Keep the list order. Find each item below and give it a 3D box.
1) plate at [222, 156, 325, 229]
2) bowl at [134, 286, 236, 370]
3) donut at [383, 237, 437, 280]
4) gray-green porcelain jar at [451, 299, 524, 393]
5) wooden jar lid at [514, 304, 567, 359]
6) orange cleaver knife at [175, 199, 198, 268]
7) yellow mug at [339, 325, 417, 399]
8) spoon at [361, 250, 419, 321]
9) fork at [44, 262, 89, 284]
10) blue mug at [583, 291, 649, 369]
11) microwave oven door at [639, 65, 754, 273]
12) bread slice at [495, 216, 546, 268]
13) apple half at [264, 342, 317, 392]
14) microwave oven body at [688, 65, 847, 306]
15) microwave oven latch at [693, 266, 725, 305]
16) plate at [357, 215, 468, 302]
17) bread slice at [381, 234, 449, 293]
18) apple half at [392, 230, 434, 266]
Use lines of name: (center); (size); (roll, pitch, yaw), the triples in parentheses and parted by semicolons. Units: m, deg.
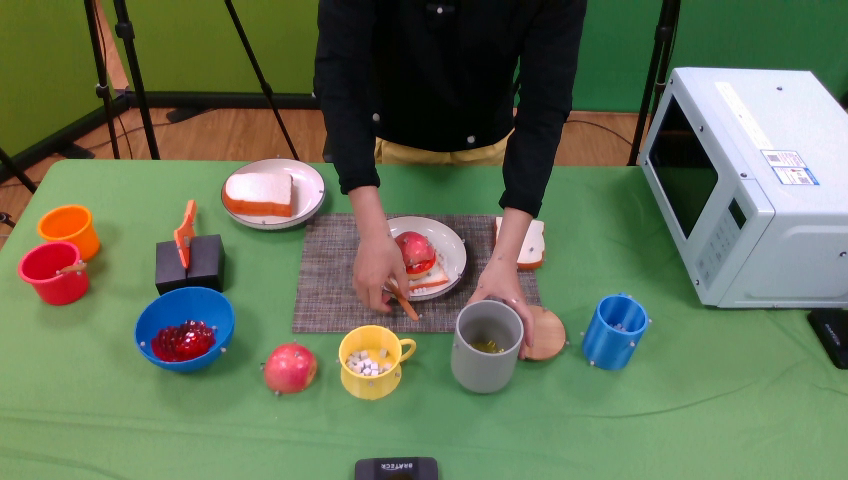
plate: (-0.308, -0.095, 1.251); (0.209, 0.038, 0.208); (2, 47, -2)
bowl: (-0.377, 0.156, 0.981); (0.151, 0.077, 0.150); (2, 46, -2)
donut: (-0.025, 0.030, 1.109); (0.099, 0.048, 0.098); (2, 47, -2)
gray-green porcelain jar: (0.097, 0.174, 0.964); (0.106, 0.127, 0.105); (2, 47, -2)
wooden jar lid: (0.192, 0.161, 1.052); (0.108, 0.021, 0.107); (2, 50, -3)
orange cleaver knife: (-0.438, -0.017, 1.138); (0.012, 0.077, 0.210); (-13, 27, -7)
yellow mug: (-0.072, 0.190, 0.978); (0.131, 0.064, 0.099); (-17, 50, -20)
spoon: (-0.060, 0.079, 1.078); (0.041, 0.022, 0.192); (-21, 42, -20)
fork: (-0.598, 0.054, 1.014); (0.207, 0.019, 0.028); (-15, 29, 45)
blue mug: (0.324, 0.142, 1.023); (0.082, 0.106, 0.116); (15, 47, 11)
microwave oven door: (0.522, -0.147, 1.193); (0.039, 0.245, 0.353); (1, 47, -3)
bread slice: (0.194, 0.002, 1.205); (0.105, 0.019, 0.131); (5, 46, 2)
apple half: (-0.214, 0.198, 0.970); (0.074, 0.053, 0.080); (19, 48, 10)
microwave oven body: (0.669, -0.111, 1.176); (0.326, 0.261, 0.439); (0, 46, -3)
microwave oven latch: (0.523, 0.082, 1.115); (0.030, 0.029, 0.078); (3, 46, 0)
plate: (-0.021, 0.037, 1.141); (0.208, 0.039, 0.206); (2, 46, -2)
bread slice: (-0.027, 0.041, 1.143); (0.107, 0.018, 0.133); (-12, 51, -17)
apple half: (-0.020, 0.005, 1.083); (0.081, 0.033, 0.081); (6, 46, -6)
